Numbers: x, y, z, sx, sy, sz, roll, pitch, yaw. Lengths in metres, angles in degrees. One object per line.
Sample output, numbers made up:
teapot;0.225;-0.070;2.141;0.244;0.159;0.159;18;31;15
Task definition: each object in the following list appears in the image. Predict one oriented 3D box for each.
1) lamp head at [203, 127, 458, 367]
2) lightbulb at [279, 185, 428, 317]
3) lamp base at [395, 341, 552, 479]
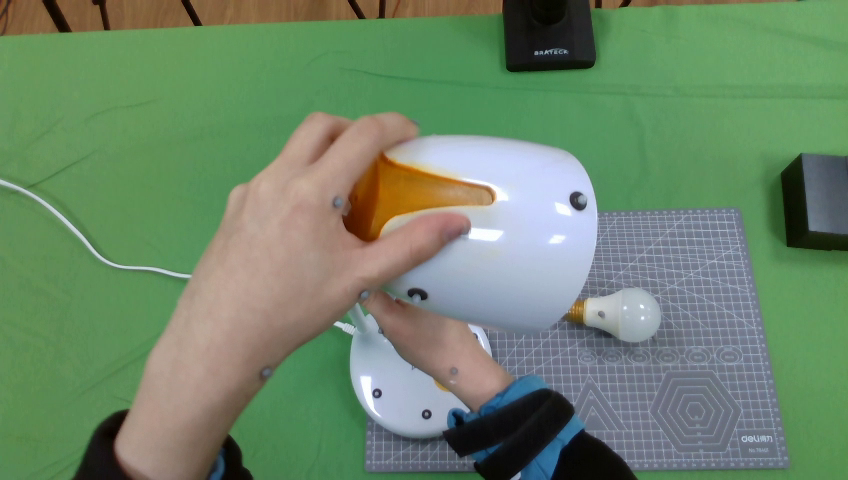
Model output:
lamp head;-0.057;0.018;0.316;0.113;0.123;0.111;19;57;-32
lightbulb;-0.044;0.012;0.289;0.107;0.060;0.059;-24;57;43
lamp base;0.043;0.158;0.605;0.179;0.182;0.159;9;68;11
